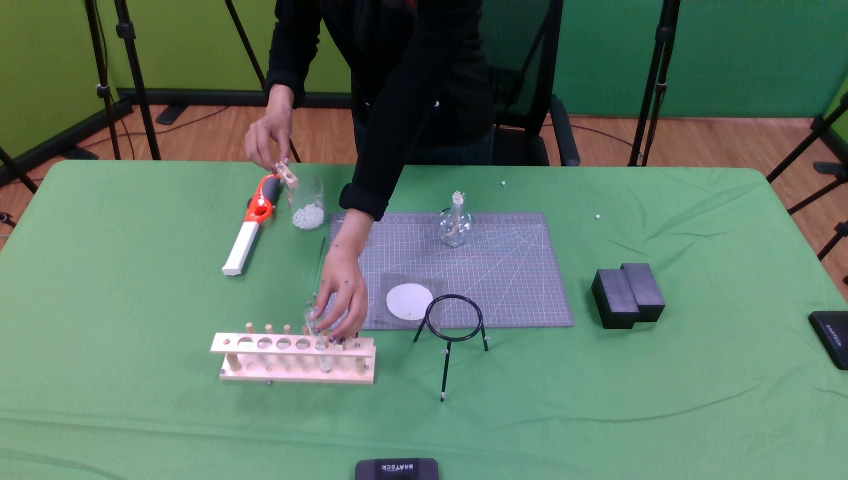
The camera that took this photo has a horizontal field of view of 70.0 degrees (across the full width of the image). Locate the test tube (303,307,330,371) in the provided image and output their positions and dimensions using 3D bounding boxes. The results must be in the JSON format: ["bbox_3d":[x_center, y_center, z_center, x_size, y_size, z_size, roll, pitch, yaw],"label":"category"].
[{"bbox_3d":[-0.163,0.155,0.924,0.017,0.151,0.017,-2,45,2],"label":"test tube"}]

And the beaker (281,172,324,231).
[{"bbox_3d":[-0.235,-0.073,1.199,0.084,0.101,0.074,24,50,17],"label":"beaker"}]

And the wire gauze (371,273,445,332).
[{"bbox_3d":[-0.028,0.108,1.100,0.125,0.011,0.121,8,45,4],"label":"wire gauze"}]

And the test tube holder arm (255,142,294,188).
[{"bbox_3d":[-0.270,-0.137,1.088,0.013,0.015,0.177,-22,41,-25],"label":"test tube holder arm"}]

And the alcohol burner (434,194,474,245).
[{"bbox_3d":[0.061,-0.046,1.183,0.078,0.119,0.077,3,47,-3],"label":"alcohol burner"}]

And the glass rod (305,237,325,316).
[{"bbox_3d":[-0.202,0.063,1.132,0.008,0.008,0.198,3,43,0],"label":"glass rod"}]

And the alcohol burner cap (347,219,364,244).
[{"bbox_3d":[-0.135,-0.019,1.190,0.034,0.048,0.033,3,45,-2],"label":"alcohol burner cap"}]

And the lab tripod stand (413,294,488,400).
[{"bbox_3d":[0.045,0.159,0.972,0.148,0.132,0.147,2,44,-2],"label":"lab tripod stand"}]

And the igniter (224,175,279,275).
[{"bbox_3d":[-0.341,-0.039,1.207,0.057,0.025,0.275,-1,45,8],"label":"igniter"}]

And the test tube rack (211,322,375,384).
[{"bbox_3d":[-0.203,0.176,0.969,0.242,0.085,0.066,3,46,-2],"label":"test tube rack"}]

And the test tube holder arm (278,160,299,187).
[{"bbox_3d":[-0.241,-0.117,1.060,0.010,0.015,0.087,-22,41,-25],"label":"test tube holder arm"}]
